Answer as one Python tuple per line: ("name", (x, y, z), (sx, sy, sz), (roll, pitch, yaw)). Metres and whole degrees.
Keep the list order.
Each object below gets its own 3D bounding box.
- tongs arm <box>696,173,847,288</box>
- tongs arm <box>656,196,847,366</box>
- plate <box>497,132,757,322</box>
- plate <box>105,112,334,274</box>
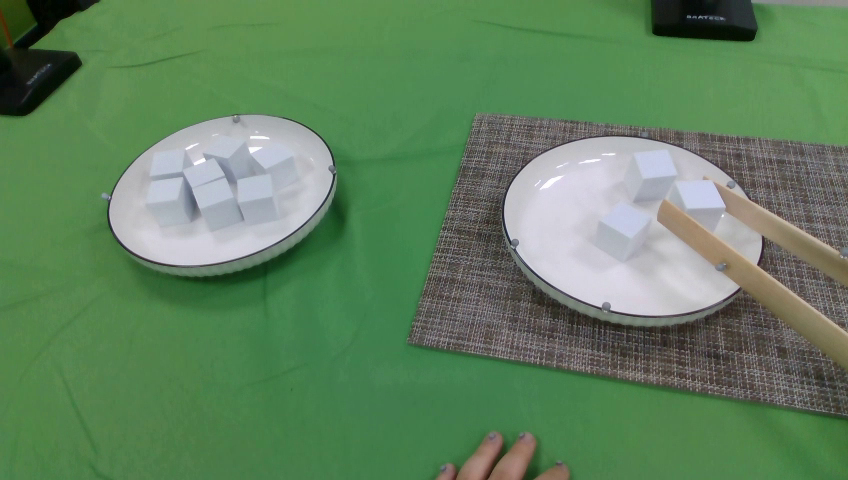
("tongs arm", (0.318, 0.069, 0.376), (0.051, 0.027, 0.380), (-31, 50, -20))
("tongs arm", (0.293, 0.082, 0.368), (0.028, 0.028, 0.383), (-26, 49, -21))
("plate", (0.165, -0.013, 0.515), (0.207, 0.039, 0.205), (-2, 49, 3))
("plate", (-0.187, -0.045, 0.575), (0.209, 0.038, 0.207), (-2, 48, 2))
